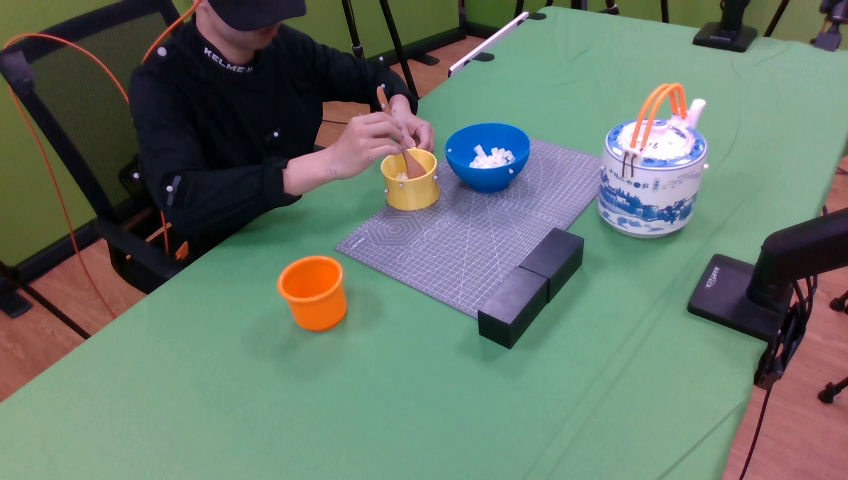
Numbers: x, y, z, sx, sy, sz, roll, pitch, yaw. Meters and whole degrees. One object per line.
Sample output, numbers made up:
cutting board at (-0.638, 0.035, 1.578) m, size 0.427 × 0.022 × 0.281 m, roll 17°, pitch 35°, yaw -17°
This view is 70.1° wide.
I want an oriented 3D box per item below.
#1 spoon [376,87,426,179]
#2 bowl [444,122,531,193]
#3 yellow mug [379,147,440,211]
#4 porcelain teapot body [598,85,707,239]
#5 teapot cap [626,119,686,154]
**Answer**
spoon at (-0.040, -0.161, 0.996) m, size 0.042 × 0.194 × 0.021 m, roll -37°, pitch 27°, yaw -23°
bowl at (0.113, -0.136, 1.063) m, size 0.151 × 0.077 × 0.150 m, roll -4°, pitch 41°, yaw 4°
yellow mug at (-0.022, -0.117, 1.070) m, size 0.100 × 0.064 × 0.130 m, roll 0°, pitch 40°, yaw 8°
porcelain teapot body at (0.363, -0.137, 0.921) m, size 0.144 × 0.226 × 0.206 m, roll 29°, pitch 51°, yaw 36°
teapot cap at (0.338, -0.153, 0.882) m, size 0.085 × 0.044 × 0.085 m, roll -3°, pitch 38°, yaw 3°
